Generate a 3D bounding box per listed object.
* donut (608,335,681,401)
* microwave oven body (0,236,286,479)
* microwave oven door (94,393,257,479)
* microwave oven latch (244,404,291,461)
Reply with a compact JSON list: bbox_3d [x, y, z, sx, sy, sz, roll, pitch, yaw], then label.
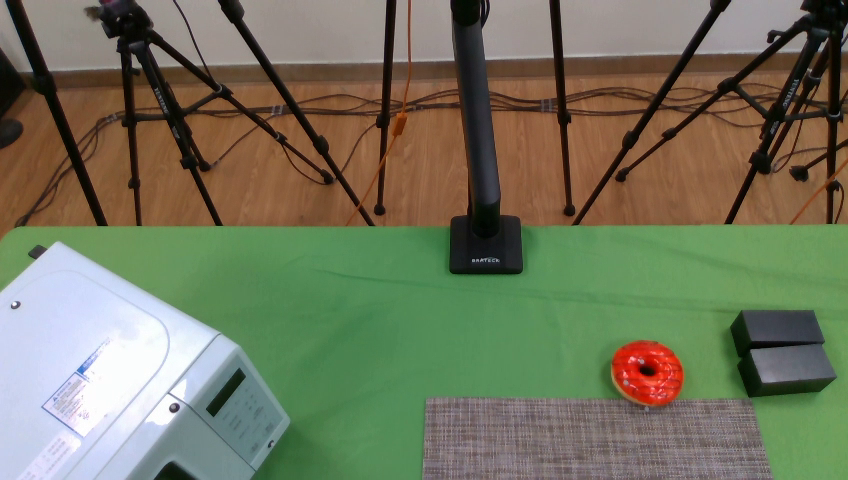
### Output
[{"bbox_3d":[0.308,0.179,0.848,0.099,0.049,0.098,-4,51,6],"label":"donut"},{"bbox_3d":[-0.437,0.270,0.702,0.324,0.262,0.440,24,60,19],"label":"microwave oven body"},{"bbox_3d":[-0.332,0.352,0.630,0.039,0.246,0.354,23,59,20],"label":"microwave oven door"},{"bbox_3d":[-0.213,0.255,0.816,0.030,0.030,0.079,26,61,20],"label":"microwave oven latch"}]
